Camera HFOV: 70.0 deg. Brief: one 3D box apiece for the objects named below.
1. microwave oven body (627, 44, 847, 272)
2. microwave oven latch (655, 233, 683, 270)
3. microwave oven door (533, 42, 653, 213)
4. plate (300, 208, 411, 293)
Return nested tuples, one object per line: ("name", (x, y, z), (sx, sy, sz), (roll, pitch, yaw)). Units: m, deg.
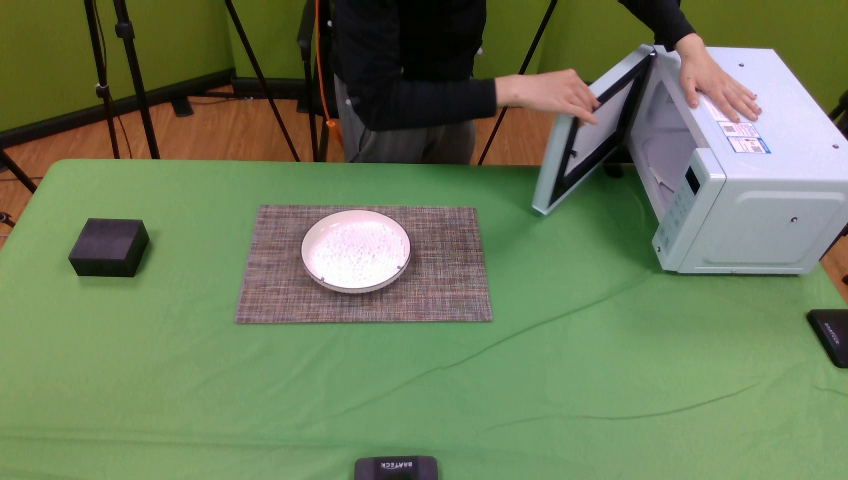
("microwave oven body", (0.620, -0.172, 1.234), (0.326, 0.261, 0.439), (0, 46, -3))
("microwave oven latch", (0.473, 0.021, 1.175), (0.030, 0.029, 0.078), (2, 46, -1))
("microwave oven door", (0.360, -0.240, 1.272), (0.039, 0.245, 0.355), (33, 53, 25))
("plate", (-0.129, 0.023, 1.149), (0.209, 0.038, 0.208), (2, 47, -2))
